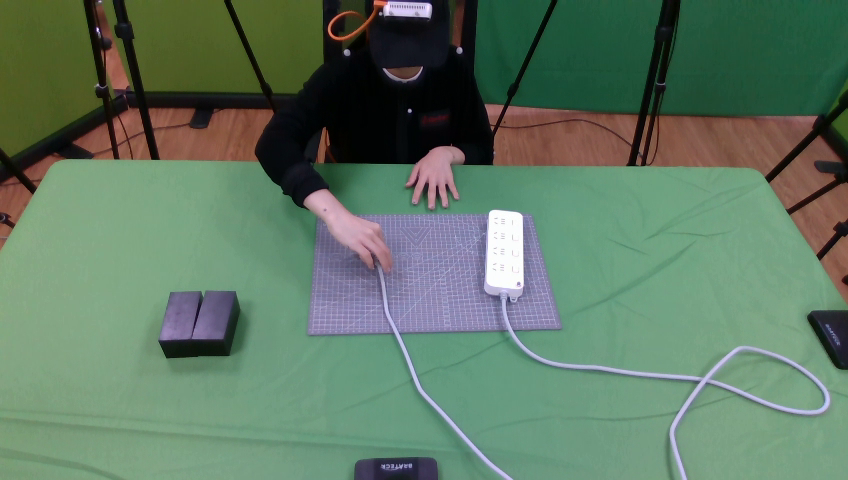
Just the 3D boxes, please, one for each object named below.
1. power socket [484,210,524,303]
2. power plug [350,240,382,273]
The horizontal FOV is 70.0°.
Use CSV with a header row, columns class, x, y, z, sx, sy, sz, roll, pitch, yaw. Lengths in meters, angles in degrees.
class,x,y,z,sx,sy,sz,roll,pitch,yaw
power socket,0.157,0.023,1.175,0.072,0.033,0.225,6,46,3
power plug,-0.109,0.029,1.143,0.053,0.035,0.072,-4,34,-16
